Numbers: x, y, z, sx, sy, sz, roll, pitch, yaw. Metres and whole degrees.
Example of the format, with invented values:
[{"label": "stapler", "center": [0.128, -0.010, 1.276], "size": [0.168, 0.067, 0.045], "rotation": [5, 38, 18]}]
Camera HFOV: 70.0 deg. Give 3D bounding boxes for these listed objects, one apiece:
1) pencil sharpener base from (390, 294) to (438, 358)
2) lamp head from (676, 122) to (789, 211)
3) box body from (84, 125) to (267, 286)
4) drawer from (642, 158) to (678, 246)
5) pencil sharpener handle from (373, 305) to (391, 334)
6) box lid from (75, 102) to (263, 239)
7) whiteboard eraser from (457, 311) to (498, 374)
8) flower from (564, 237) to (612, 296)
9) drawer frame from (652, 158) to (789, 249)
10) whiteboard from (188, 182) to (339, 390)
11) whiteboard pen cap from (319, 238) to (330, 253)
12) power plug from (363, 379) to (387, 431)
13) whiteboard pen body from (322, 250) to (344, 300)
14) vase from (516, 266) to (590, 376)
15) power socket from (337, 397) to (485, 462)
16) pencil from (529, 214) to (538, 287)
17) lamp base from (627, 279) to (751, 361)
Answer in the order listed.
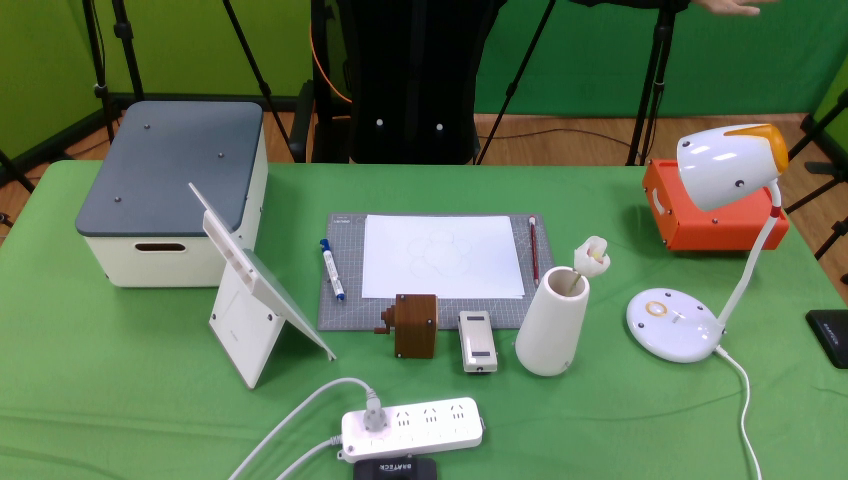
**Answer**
[{"label": "pencil sharpener base", "center": [-0.018, 0.143, 1.000], "size": [0.077, 0.107, 0.061], "rotation": [1, 46, -2]}, {"label": "lamp head", "center": [0.423, -0.104, 0.819], "size": [0.122, 0.113, 0.112], "rotation": [-13, 33, 40]}, {"label": "box body", "center": [-0.446, -0.088, 1.150], "size": [0.254, 0.161, 0.361], "rotation": [-1, 46, -5]}, {"label": "drawer", "center": [0.566, -0.076, 1.211], "size": [0.212, 0.073, 0.193], "rotation": [2, 45, -2]}, {"label": "pencil sharpener handle", "center": [-0.069, 0.133, 0.989], "size": [0.030, 0.068, 0.036], "rotation": [1, 47, -2]}, {"label": "box lid", "center": [-0.443, -0.138, 1.094], "size": [0.263, 0.015, 0.369], "rotation": [-1, 47, -5]}, {"label": "whiteboard eraser", "center": [0.089, 0.173, 1.025], "size": [0.055, 0.042, 0.112], "rotation": [-2, 47, -4]}, {"label": "flower", "center": [0.206, 0.088, 0.893], "size": [0.038, 0.363, 0.044], "rotation": [-17, 67, -9]}, {"label": "drawer frame", "center": [0.571, -0.075, 1.214], "size": [0.214, 0.083, 0.200], "rotation": [0, 46, -1]}, {"label": "whiteboard", "center": [-0.292, 0.096, 0.929], "size": [0.144, 0.307, 0.216], "rotation": [-38, 57, -10]}, {"label": "whiteboard pen cap", "center": [-0.191, 0.013, 1.163], "size": [0.018, 0.018, 0.033], "rotation": [-12, 49, -16]}, {"label": "power plug", "center": [-0.072, 0.252, 0.910], "size": [0.035, 0.053, 0.072], "rotation": [3, 45, -1]}, {"label": "whiteboard pen body", "center": [-0.173, 0.056, 1.127], "size": [0.017, 0.017, 0.140], "rotation": [-12, 49, -16]}, {"label": "vase", "center": [0.208, 0.132, 0.964], "size": [0.098, 0.201, 0.097], "rotation": [3, 46, -3]}, {"label": "power socket", "center": [-0.018, 0.285, 0.915], "size": [0.227, 0.033, 0.071], "rotation": [-5, 46, -8]}, {"label": "pencil", "center": [0.219, 0.019, 1.202], "size": [0.012, 0.012, 0.193], "rotation": [5, 47, 1]}, {"label": "lamp base", "center": [0.459, 0.100, 1.027], "size": [0.178, 0.181, 0.160], "rotation": [27, 51, 17]}]
